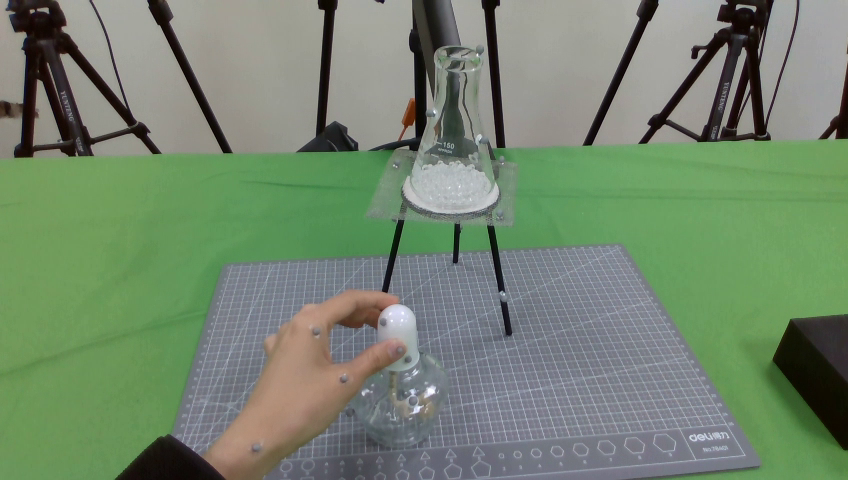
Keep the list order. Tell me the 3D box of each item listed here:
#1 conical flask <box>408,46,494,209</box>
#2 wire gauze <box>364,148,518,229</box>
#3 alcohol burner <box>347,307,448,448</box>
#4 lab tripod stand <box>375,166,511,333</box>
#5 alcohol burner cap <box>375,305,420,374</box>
[{"bbox_3d":[0.025,-0.093,0.497,0.075,0.123,0.074,1,35,0],"label":"conical flask"},{"bbox_3d":[0.020,-0.046,0.534,0.121,0.011,0.124,6,37,7],"label":"wire gauze"},{"bbox_3d":[-0.020,0.099,0.457,0.078,0.120,0.077,0,33,0],"label":"alcohol burner"},{"bbox_3d":[0.026,0.009,0.571,0.148,0.132,0.147,2,34,-1],"label":"lab tripod stand"},{"bbox_3d":[-0.019,0.069,0.436,0.034,0.048,0.033,0,30,0],"label":"alcohol burner cap"}]
